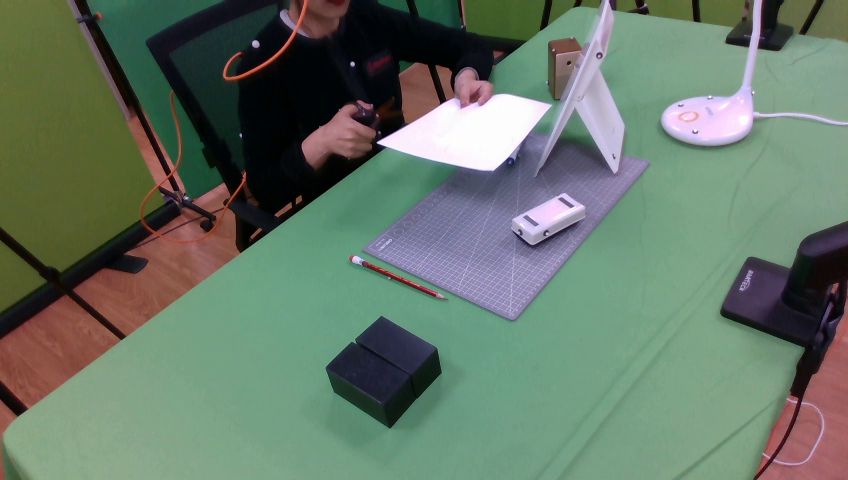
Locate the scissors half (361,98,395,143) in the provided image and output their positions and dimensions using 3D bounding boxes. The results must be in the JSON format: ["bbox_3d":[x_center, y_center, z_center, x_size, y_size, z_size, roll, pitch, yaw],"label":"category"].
[{"bbox_3d":[-0.087,-0.234,1.185,0.040,0.174,0.013,46,62,-1],"label":"scissors half"}]

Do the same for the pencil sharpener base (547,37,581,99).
[{"bbox_3d":[0.299,-0.368,1.290,0.061,0.107,0.076,-8,40,2],"label":"pencil sharpener base"}]

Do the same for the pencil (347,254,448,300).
[{"bbox_3d":[-0.044,0.058,0.933,0.192,0.012,0.012,22,49,28],"label":"pencil"}]

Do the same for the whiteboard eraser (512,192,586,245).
[{"bbox_3d":[0.199,-0.032,0.962,0.113,0.042,0.055,-27,43,-20],"label":"whiteboard eraser"}]

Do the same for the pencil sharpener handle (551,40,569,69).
[{"bbox_3d":[0.291,-0.409,1.321,0.036,0.068,0.030,2,40,-6],"label":"pencil sharpener handle"}]

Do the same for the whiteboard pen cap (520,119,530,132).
[{"bbox_3d":[0.199,-0.226,1.205,0.018,0.018,0.033,8,42,19],"label":"whiteboard pen cap"}]

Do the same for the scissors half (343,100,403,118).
[{"bbox_3d":[-0.101,-0.253,1.177,0.173,0.040,0.013,15,54,42],"label":"scissors half"}]

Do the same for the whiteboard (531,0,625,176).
[{"bbox_3d":[0.320,-0.258,1.050,0.144,0.306,0.217,22,45,5],"label":"whiteboard"}]

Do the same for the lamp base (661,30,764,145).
[{"bbox_3d":[0.535,-0.287,1.096,0.179,0.181,0.159,-10,40,-4],"label":"lamp base"}]

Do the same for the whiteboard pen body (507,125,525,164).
[{"bbox_3d":[0.180,-0.191,1.164,0.017,0.017,0.140,6,43,17],"label":"whiteboard pen body"}]
